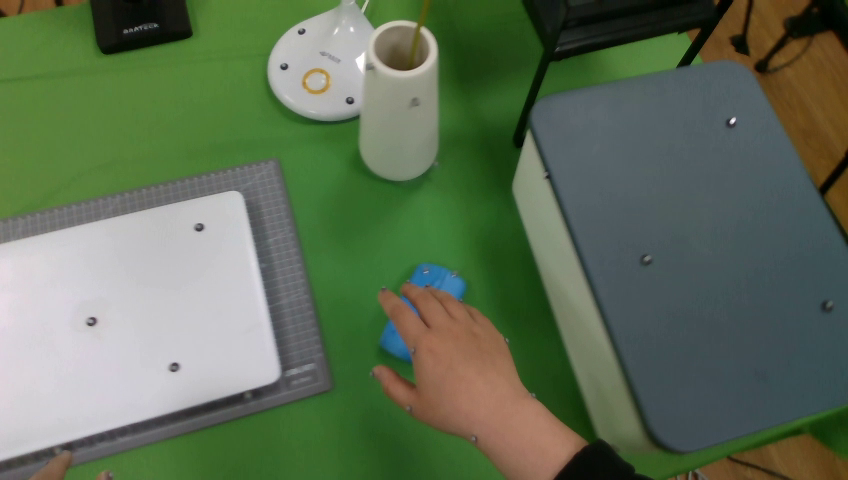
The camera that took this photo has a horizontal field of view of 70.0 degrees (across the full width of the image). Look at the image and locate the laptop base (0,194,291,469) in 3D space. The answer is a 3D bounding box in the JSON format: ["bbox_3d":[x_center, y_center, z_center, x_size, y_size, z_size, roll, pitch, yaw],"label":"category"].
[{"bbox_3d":[-0.342,0.093,0.655,0.355,0.023,0.234,-15,73,-11],"label":"laptop base"}]

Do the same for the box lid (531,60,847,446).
[{"bbox_3d":[0.279,-0.014,0.591,0.264,0.015,0.368,-13,69,-10],"label":"box lid"}]

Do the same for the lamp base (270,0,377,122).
[{"bbox_3d":[-0.114,-0.267,0.738,0.160,0.181,0.178,16,64,3],"label":"lamp base"}]

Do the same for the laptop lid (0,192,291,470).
[{"bbox_3d":[-0.340,0.090,0.644,0.357,0.013,0.240,-14,71,-10],"label":"laptop lid"}]

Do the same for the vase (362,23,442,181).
[{"bbox_3d":[-0.025,-0.149,0.685,0.098,0.201,0.097,1,66,-2],"label":"vase"}]

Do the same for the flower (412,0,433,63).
[{"bbox_3d":[-0.007,-0.193,0.616,0.038,0.364,0.043,-23,60,-31],"label":"flower"}]

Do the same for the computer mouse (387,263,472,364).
[{"bbox_3d":[0.008,0.079,0.679,0.062,0.041,0.116,23,63,9],"label":"computer mouse"}]

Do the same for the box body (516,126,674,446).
[{"bbox_3d":[0.275,0.017,0.658,0.254,0.161,0.361,-14,69,-10],"label":"box body"}]
